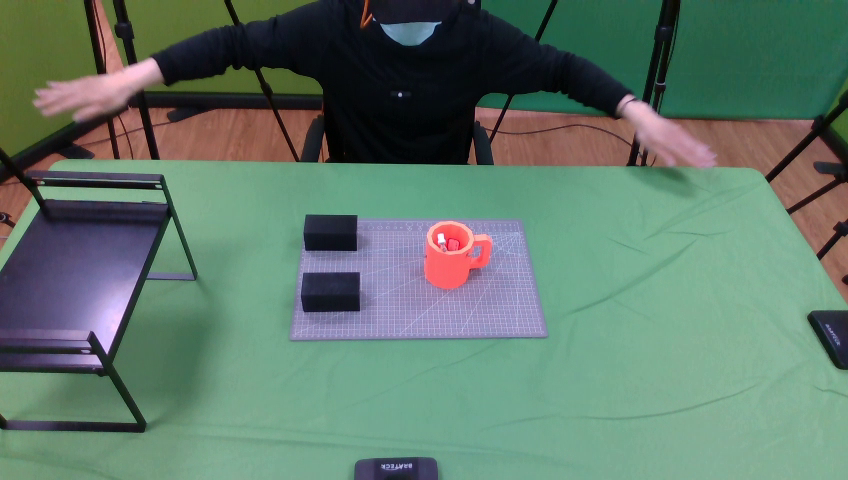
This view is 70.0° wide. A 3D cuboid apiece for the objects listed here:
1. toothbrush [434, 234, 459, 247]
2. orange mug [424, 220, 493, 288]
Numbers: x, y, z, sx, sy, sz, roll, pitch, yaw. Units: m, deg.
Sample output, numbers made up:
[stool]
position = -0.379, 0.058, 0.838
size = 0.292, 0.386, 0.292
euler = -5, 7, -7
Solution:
[toothbrush]
position = 0.042, 0.003, 1.069
size = 0.016, 0.182, 0.014
euler = 37, 96, 11
[orange mug]
position = 0.064, 0.023, 1.119
size = 0.126, 0.101, 0.083
euler = -9, 47, -7
